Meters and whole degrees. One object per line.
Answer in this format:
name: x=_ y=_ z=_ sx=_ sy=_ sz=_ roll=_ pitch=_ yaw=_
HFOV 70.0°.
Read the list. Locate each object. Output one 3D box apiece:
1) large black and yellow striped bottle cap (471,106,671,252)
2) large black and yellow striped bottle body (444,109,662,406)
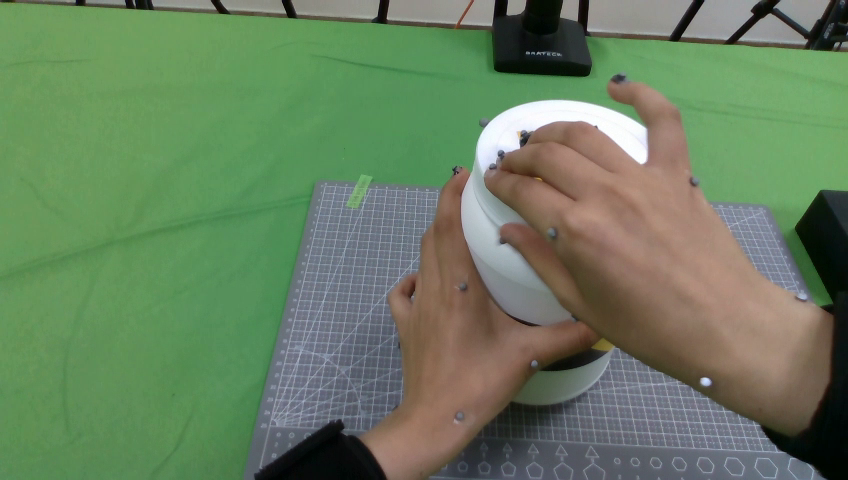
large black and yellow striped bottle cap: x=0.085 y=-0.040 z=0.357 sx=0.115 sy=0.019 sz=0.114 roll=1 pitch=46 yaw=-1
large black and yellow striped bottle body: x=0.083 y=0.016 z=0.420 sx=0.131 sy=0.185 sz=0.129 roll=2 pitch=48 yaw=-1
